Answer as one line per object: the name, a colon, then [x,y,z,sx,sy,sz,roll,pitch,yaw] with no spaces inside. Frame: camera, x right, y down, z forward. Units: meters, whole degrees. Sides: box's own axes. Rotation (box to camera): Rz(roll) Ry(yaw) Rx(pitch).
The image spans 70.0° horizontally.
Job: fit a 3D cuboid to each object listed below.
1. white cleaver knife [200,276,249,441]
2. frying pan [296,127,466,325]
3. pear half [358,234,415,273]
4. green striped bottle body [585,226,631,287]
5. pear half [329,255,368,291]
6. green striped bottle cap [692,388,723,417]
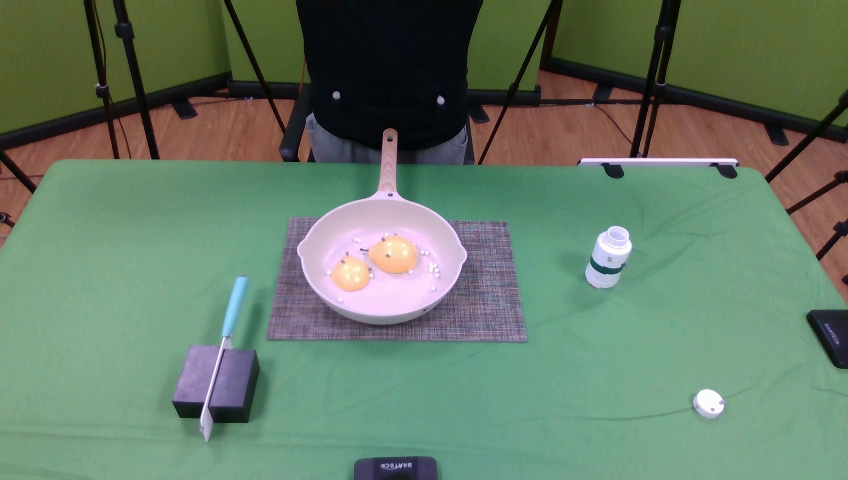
white cleaver knife: [-0.321,0.177,0.971,0.021,0.066,0.284,7,48,-5]
frying pan: [-0.076,-0.045,1.172,0.307,0.103,0.485,3,55,-2]
pear half: [-0.074,0.017,1.146,0.110,0.056,0.076,8,41,7]
green striped bottle body: [0.344,0.028,1.129,0.063,0.120,0.063,2,46,-2]
pear half: [-0.140,0.053,1.122,0.070,0.031,0.087,-7,51,-17]
green striped bottle cap: [0.460,0.263,0.984,0.044,0.020,0.044,3,46,-3]
